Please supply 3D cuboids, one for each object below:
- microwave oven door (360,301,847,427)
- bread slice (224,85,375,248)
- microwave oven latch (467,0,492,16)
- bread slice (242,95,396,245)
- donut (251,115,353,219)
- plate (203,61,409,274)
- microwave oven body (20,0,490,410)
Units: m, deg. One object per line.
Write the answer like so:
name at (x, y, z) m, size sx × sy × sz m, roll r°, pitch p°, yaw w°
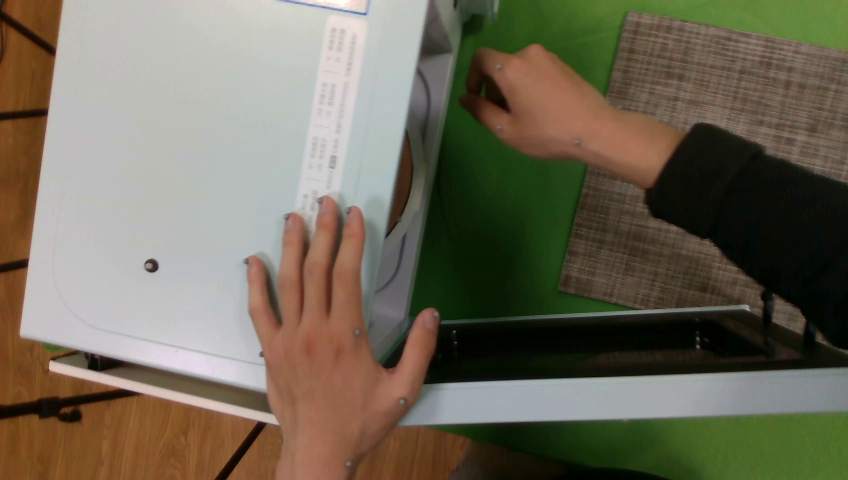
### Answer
microwave oven door at (0.144, 0.100, 0.530) m, size 0.355 × 0.244 × 0.039 m, roll -5°, pitch 92°, yaw 8°
bread slice at (-0.122, -0.072, 0.552) m, size 0.105 × 0.019 × 0.131 m, roll -33°, pitch 92°, yaw 10°
microwave oven latch at (0.061, -0.273, 0.615) m, size 0.030 × 0.029 × 0.079 m, roll 11°, pitch 96°, yaw 6°
bread slice at (-0.113, -0.075, 0.608) m, size 0.107 × 0.018 × 0.135 m, roll -44°, pitch 100°, yaw 0°
donut at (-0.116, -0.069, 0.578) m, size 0.099 × 0.048 × 0.099 m, roll 0°, pitch 95°, yaw 2°
plate at (-0.116, -0.070, 0.608) m, size 0.207 × 0.039 × 0.208 m, roll 0°, pitch 94°, yaw 7°
microwave oven body at (-0.129, -0.121, 0.553) m, size 0.325 × 0.260 × 0.442 m, roll 11°, pitch 96°, yaw 6°
